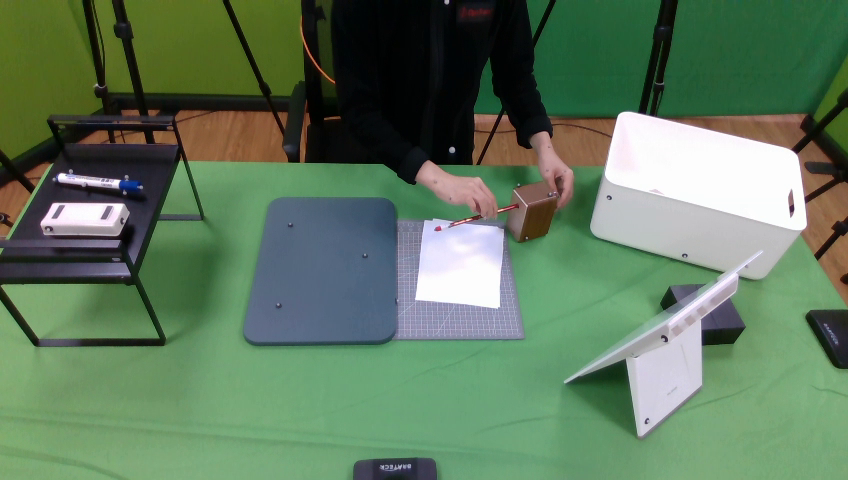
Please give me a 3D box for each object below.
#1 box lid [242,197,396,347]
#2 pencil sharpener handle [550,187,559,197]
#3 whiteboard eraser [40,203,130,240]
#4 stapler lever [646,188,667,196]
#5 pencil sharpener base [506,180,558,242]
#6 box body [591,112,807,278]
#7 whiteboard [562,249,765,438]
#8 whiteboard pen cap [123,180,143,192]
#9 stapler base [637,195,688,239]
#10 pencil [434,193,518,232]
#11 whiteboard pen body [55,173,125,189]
[{"bbox_3d":[-0.186,0.046,1.147,0.263,0.015,0.369,0,46,-3],"label":"box lid"},{"bbox_3d":[0.261,-0.084,1.221,0.031,0.068,0.036,-16,67,-19],"label":"pencil sharpener handle"},{"bbox_3d":[-0.513,-0.028,0.922,0.113,0.042,0.055,1,48,-3],"label":"whiteboard eraser"},{"bbox_3d":[0.507,-0.075,1.262,0.027,0.040,0.117,-14,46,-19],"label":"stapler lever"},{"bbox_3d":[0.216,-0.058,1.211,0.077,0.107,0.061,-16,49,-19],"label":"pencil sharpener base"},{"bbox_3d":[0.540,-0.092,1.230,0.363,0.161,0.253,16,47,11],"label":"box body"},{"bbox_3d":[0.386,0.175,0.905,0.217,0.306,0.143,-26,72,-26],"label":"whiteboard"},{"bbox_3d":[-0.479,-0.089,0.993,0.033,0.018,0.018,7,46,14],"label":"whiteboard pen cap"},{"bbox_3d":[0.507,-0.055,1.280,0.041,0.024,0.129,-14,47,-19],"label":"stapler base"},{"bbox_3d":[0.107,-0.056,1.152,0.194,0.012,0.012,-23,52,-14],"label":"pencil"},{"bbox_3d":[-0.539,-0.095,0.998,0.141,0.017,0.017,6,46,6],"label":"whiteboard pen body"}]
